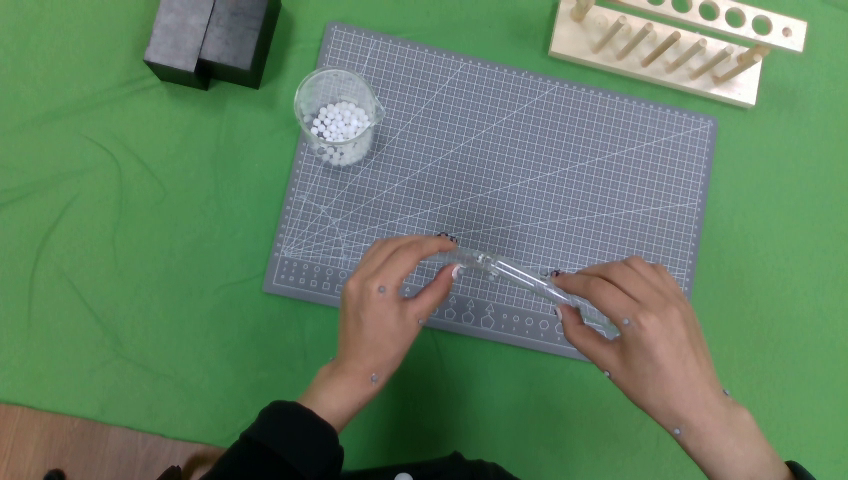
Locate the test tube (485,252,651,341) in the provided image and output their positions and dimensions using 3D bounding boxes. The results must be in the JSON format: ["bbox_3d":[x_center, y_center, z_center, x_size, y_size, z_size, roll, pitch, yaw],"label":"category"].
[{"bbox_3d":[0.116,0.047,0.482,0.151,0.017,0.017,25,81,-10],"label":"test tube"}]

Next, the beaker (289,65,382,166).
[{"bbox_3d":[-0.085,-0.117,0.597,0.084,0.100,0.074,5,83,-6],"label":"beaker"}]

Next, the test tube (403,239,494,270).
[{"bbox_3d":[0.017,0.011,0.539,0.017,0.149,0.017,-2,95,-26],"label":"test tube"}]

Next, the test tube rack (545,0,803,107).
[{"bbox_3d":[0.264,-0.218,0.654,0.243,0.085,0.066,13,82,-4],"label":"test tube rack"}]
